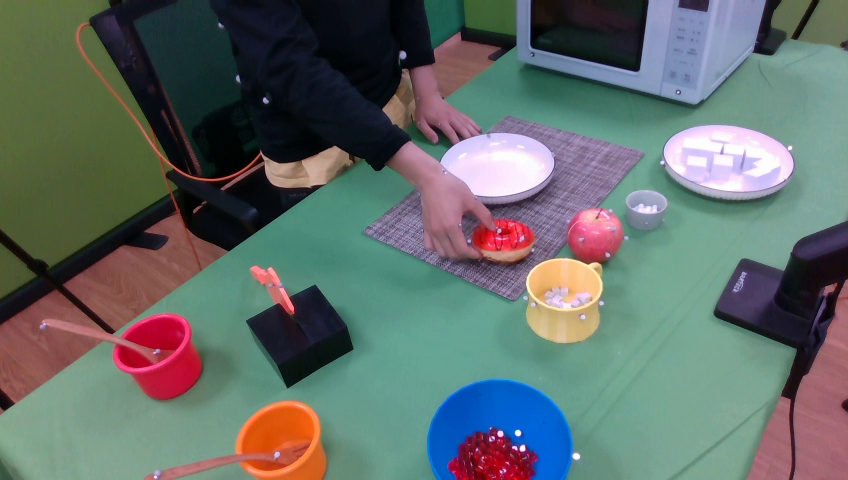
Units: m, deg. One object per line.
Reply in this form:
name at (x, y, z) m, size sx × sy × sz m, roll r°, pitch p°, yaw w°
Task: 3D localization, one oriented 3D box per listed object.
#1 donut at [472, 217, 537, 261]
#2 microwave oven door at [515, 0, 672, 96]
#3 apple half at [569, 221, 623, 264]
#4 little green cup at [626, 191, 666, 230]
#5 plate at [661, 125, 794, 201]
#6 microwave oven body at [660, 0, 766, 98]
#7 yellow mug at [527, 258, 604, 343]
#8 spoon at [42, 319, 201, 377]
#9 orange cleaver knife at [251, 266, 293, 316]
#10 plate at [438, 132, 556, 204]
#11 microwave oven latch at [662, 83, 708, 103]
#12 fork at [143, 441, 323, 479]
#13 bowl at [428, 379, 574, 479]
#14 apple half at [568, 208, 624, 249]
donut at (0.123, -0.002, 0.930) m, size 0.099 × 0.048 × 0.098 m, roll -3°, pitch 30°, yaw 2°
microwave oven door at (0.343, -0.454, 1.259) m, size 0.353 × 0.245 × 0.039 m, roll 26°, pitch 51°, yaw 33°
apple half at (0.251, 0.010, 0.884) m, size 0.081 × 0.081 × 0.032 m, roll 3°, pitch 37°, yaw 12°
little green cup at (0.352, -0.046, 0.963) m, size 0.061 × 0.039 × 0.061 m, roll -4°, pitch 40°, yaw 4°
plate at (0.513, -0.128, 1.035) m, size 0.207 × 0.039 × 0.206 m, roll -4°, pitch 40°, yaw 4°
microwave oven body at (0.472, -0.513, 1.317) m, size 0.438 × 0.261 × 0.327 m, roll 26°, pitch 51°, yaw 34°
yellow mug at (0.202, 0.073, 0.825) m, size 0.131 × 0.064 × 0.099 m, roll -32°, pitch 46°, yaw -27°
spoon at (-0.385, 0.135, 0.779) m, size 0.195 × 0.021 × 0.041 m, roll 29°, pitch 37°, yaw -26°
orange cleaver knife at (-0.221, 0.071, 0.873) m, size 0.012 × 0.077 × 0.210 m, roll -25°, pitch 11°, yaw -21°
plate at (0.130, -0.125, 1.084) m, size 0.209 × 0.038 × 0.208 m, roll -4°, pitch 40°, yaw 4°
microwave oven latch at (0.517, -0.296, 1.204) m, size 0.078 × 0.029 × 0.030 m, roll 27°, pitch 52°, yaw 35°
fork at (-0.189, 0.231, 0.631) m, size 0.028 × 0.018 × 0.209 m, roll 35°, pitch 13°, yaw 37°
bowl at (0.082, 0.233, 0.644) m, size 0.151 × 0.077 × 0.150 m, roll -4°, pitch 40°, yaw 4°
apple half at (0.259, -0.014, 0.914) m, size 0.080 × 0.075 × 0.053 m, roll 0°, pitch 36°, yaw 15°
